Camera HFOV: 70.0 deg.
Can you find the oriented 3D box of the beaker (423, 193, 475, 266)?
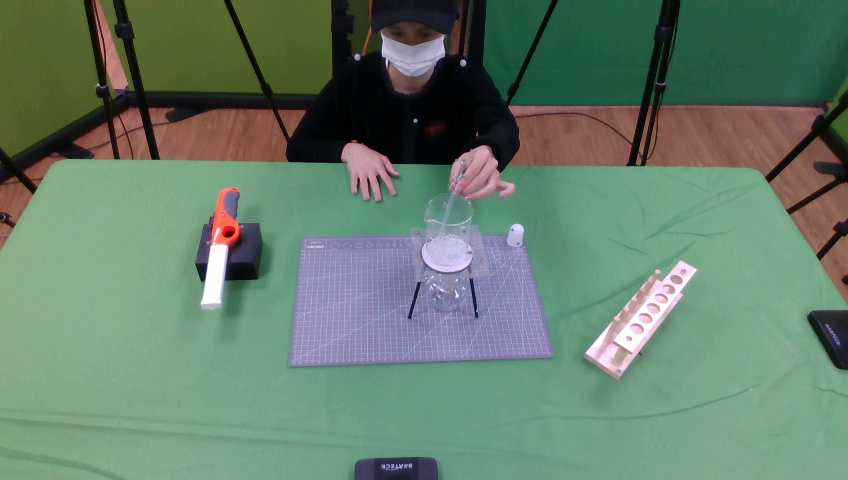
[{"bbox_3d":[0.036,-0.013,0.974,0.084,0.101,0.073,-18,48,-20],"label":"beaker"}]

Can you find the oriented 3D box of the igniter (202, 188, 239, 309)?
[{"bbox_3d":[-0.367,0.006,1.095,0.057,0.025,0.274,-2,49,-7],"label":"igniter"}]

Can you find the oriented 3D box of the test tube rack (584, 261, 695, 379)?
[{"bbox_3d":[0.380,0.127,1.062,0.066,0.085,0.242,34,53,26],"label":"test tube rack"}]

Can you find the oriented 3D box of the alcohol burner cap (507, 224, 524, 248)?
[{"bbox_3d":[0.184,-0.010,1.206,0.034,0.048,0.033,0,45,0],"label":"alcohol burner cap"}]

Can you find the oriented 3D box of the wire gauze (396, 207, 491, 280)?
[{"bbox_3d":[0.032,0.006,1.001,0.125,0.011,0.120,-20,52,-16],"label":"wire gauze"}]

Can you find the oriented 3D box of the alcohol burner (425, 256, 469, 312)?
[{"bbox_3d":[0.041,0.072,1.065,0.078,0.120,0.077,1,46,-1],"label":"alcohol burner"}]

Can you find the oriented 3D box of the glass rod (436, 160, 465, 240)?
[{"bbox_3d":[0.040,-0.057,0.939,0.008,0.200,0.008,6,55,-8],"label":"glass rod"}]

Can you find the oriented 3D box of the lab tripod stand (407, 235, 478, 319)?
[{"bbox_3d":[0.032,0.065,1.057,0.148,0.132,0.147,1,45,-1],"label":"lab tripod stand"}]
